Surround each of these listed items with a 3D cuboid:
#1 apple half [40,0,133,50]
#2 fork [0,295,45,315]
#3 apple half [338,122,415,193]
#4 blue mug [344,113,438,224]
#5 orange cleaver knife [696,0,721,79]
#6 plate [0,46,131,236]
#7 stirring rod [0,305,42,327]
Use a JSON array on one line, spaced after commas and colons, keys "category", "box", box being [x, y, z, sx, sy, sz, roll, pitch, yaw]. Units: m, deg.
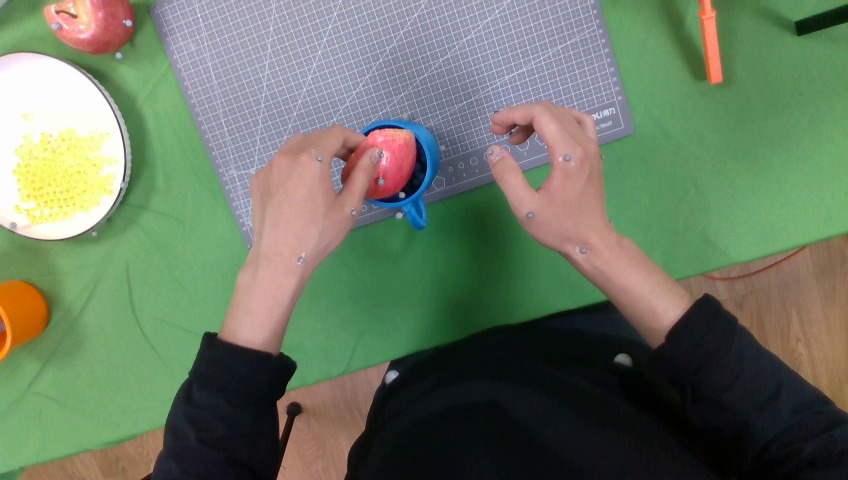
[{"category": "apple half", "box": [-0.343, -0.226, 0.631, 0.081, 0.074, 0.053, -15, 104, 4]}, {"category": "fork", "box": [-0.548, 0.092, 0.681, 0.208, 0.018, 0.028, -11, 104, -37]}, {"category": "apple half", "box": [-0.035, -0.069, 0.553, 0.081, 0.082, 0.032, -42, 62, 12]}, {"category": "blue mug", "box": [-0.024, -0.071, 0.619, 0.082, 0.105, 0.117, -20, 100, 9]}, {"category": "orange cleaver knife", "box": [0.256, -0.255, 0.568, 0.012, 0.076, 0.213, -15, 127, 17]}, {"category": "plate", "box": [-0.427, -0.109, 0.682, 0.209, 0.038, 0.210, 1, 103, 5]}, {"category": "stirring rod", "box": [-0.534, 0.107, 0.686, 0.176, 0.006, 0.014, -18, 91, -32]}]
